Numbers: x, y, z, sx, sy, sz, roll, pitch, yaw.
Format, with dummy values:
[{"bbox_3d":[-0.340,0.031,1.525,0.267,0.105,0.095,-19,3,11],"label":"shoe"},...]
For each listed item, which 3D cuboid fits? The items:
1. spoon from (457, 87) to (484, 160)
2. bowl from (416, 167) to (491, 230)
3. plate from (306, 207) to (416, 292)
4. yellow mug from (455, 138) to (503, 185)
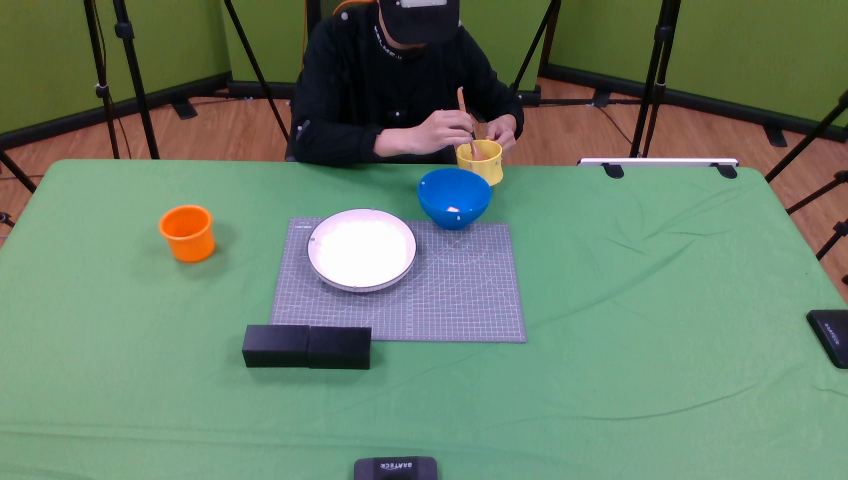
[{"bbox_3d":[0.094,-0.225,1.273,0.041,0.194,0.021,-33,24,-32],"label":"spoon"},{"bbox_3d":[0.057,-0.074,1.231,0.151,0.077,0.150,3,42,-2],"label":"bowl"},{"bbox_3d":[-0.119,0.021,1.153,0.209,0.038,0.208,2,46,-2],"label":"plate"},{"bbox_3d":[0.124,-0.176,1.316,0.100,0.064,0.130,8,38,20],"label":"yellow mug"}]
